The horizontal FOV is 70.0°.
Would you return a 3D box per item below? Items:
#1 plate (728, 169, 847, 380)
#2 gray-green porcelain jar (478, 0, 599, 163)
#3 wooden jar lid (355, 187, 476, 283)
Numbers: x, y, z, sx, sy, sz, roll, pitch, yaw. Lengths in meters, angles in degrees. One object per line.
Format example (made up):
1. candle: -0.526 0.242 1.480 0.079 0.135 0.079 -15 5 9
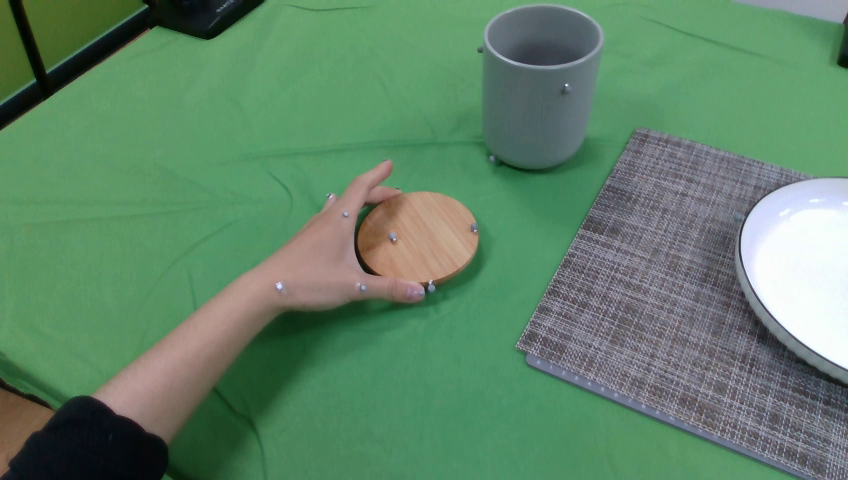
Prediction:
1. plate: 0.344 0.030 0.471 0.207 0.039 0.205 -2 50 3
2. gray-green porcelain jar: 0.105 -0.146 0.581 0.106 0.128 0.105 -2 50 3
3. wooden jar lid: -0.007 -0.003 0.541 0.108 0.021 0.107 -1 50 2
